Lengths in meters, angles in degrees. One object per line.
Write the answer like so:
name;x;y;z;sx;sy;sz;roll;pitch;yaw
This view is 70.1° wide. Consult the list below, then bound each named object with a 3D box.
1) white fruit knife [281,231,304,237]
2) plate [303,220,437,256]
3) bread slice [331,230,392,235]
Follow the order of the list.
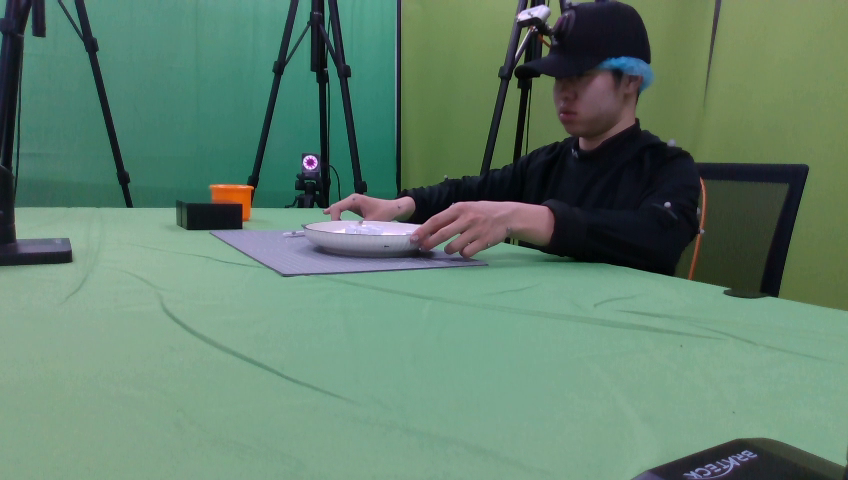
white fruit knife;-0.178;-0.017;1.130;0.208;0.016;0.027;-8;-18;-47
plate;-0.084;-0.003;0.951;0.209;0.038;0.209;3;7;0
bread slice;-0.088;-0.001;0.947;0.105;0.019;0.131;-4;11;-45
